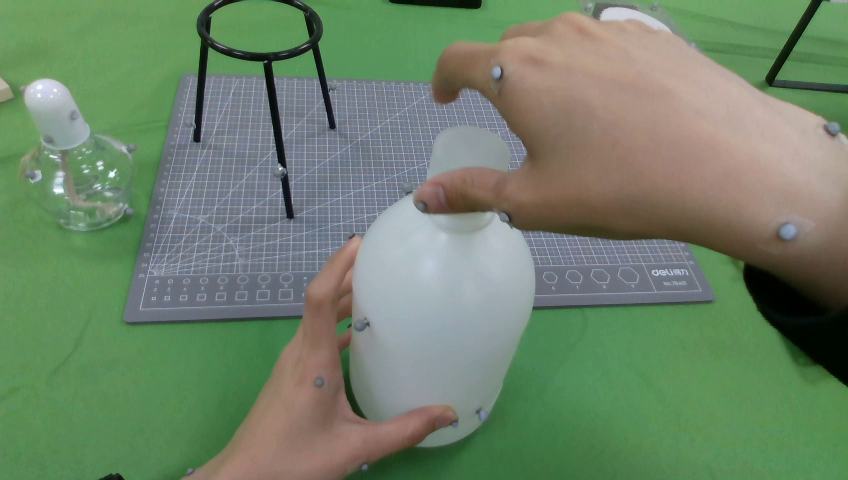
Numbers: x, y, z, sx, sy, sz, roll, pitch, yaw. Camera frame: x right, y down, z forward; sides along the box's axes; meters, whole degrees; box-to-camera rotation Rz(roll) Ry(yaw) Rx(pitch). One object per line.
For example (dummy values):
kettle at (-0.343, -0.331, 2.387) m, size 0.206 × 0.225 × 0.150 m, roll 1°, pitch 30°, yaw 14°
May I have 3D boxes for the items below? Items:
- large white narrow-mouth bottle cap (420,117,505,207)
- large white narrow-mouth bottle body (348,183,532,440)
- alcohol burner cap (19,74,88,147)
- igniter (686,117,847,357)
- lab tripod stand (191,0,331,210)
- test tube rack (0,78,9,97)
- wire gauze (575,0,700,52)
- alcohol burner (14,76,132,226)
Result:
large white narrow-mouth bottle cap at (0.017, -0.035, 0.271) m, size 0.038 × 0.024 × 0.037 m, roll 4°, pitch 49°, yaw -4°
large white narrow-mouth bottle body at (0.008, 0.030, 0.344) m, size 0.102 × 0.196 × 0.101 m, roll 4°, pitch 48°, yaw -4°
alcohol burner cap at (-0.254, -0.090, 0.412) m, size 0.034 × 0.048 × 0.033 m, roll 4°, pitch 55°, yaw -5°
igniter at (0.299, -0.017, 0.543) m, size 0.057 × 0.025 × 0.273 m, roll 8°, pitch 48°, yaw -16°
lab tripod stand at (-0.127, -0.119, 0.489) m, size 0.149 × 0.132 × 0.147 m, roll 6°, pitch 49°, yaw -6°
test tube rack at (-0.478, -0.119, 0.468) m, size 0.066 × 0.086 × 0.242 m, roll 38°, pitch 54°, yaw 22°
wire gauze at (0.231, -0.246, 0.680) m, size 0.122 × 0.011 × 0.123 m, roll 1°, pitch 50°, yaw -10°
alcohol burner at (-0.258, -0.067, 0.440) m, size 0.078 × 0.120 × 0.077 m, roll 6°, pitch 47°, yaw -6°
